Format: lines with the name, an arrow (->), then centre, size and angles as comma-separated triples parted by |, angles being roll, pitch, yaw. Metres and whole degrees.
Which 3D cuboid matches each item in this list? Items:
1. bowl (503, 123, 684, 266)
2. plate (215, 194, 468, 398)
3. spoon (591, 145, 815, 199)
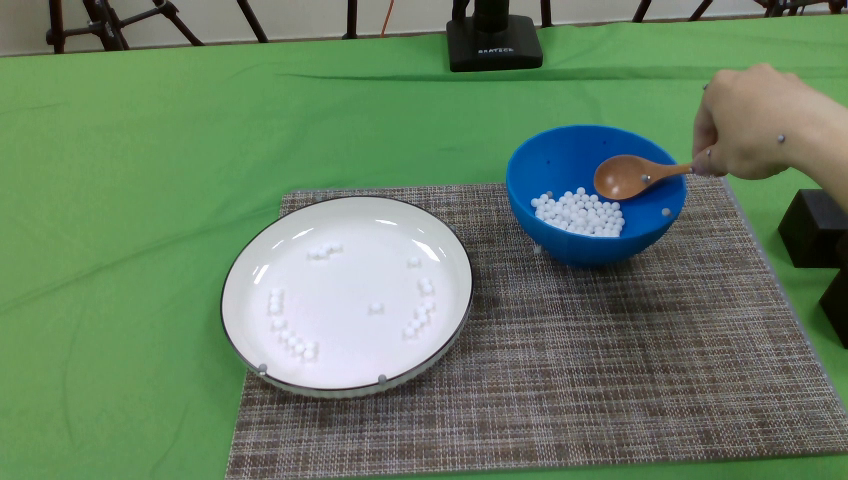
bowl -> 0.144, -0.029, 0.543 | 0.151, 0.077, 0.150 | -1, 47, 2
plate -> -0.066, 0.045, 0.513 | 0.207, 0.039, 0.205 | -1, 47, 2
spoon -> 0.213, -0.058, 0.493 | 0.022, 0.041, 0.192 | 4, -1, -29
